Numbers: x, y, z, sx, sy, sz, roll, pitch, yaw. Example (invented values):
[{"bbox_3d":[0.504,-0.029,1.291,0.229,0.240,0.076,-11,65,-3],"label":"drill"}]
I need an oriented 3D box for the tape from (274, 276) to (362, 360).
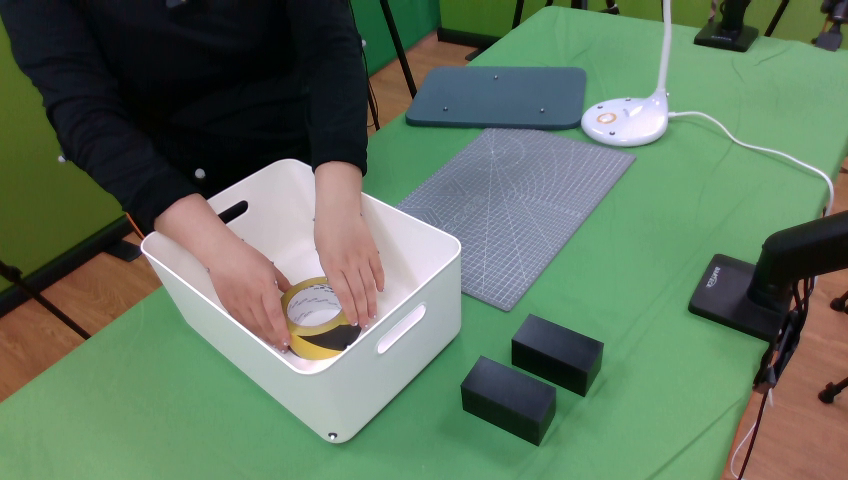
[{"bbox_3d":[-0.144,0.106,0.832,0.117,0.053,0.116,-3,41,3],"label":"tape"}]

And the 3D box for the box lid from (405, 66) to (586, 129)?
[{"bbox_3d":[0.163,-0.317,1.322,0.370,0.015,0.263,5,42,14],"label":"box lid"}]

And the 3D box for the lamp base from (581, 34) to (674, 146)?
[{"bbox_3d":[0.392,-0.291,1.129,0.180,0.181,0.159,-11,41,-8],"label":"lamp base"}]

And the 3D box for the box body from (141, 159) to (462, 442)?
[{"bbox_3d":[-0.153,0.063,0.809,0.361,0.161,0.255,27,51,33],"label":"box body"}]
